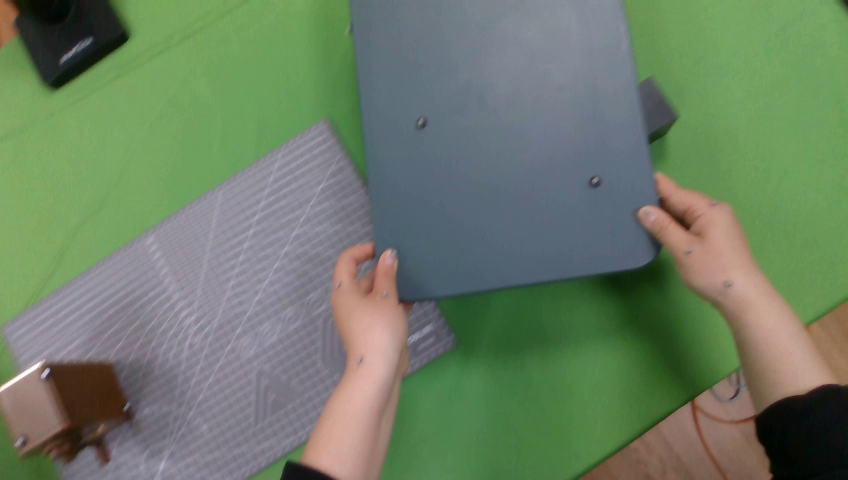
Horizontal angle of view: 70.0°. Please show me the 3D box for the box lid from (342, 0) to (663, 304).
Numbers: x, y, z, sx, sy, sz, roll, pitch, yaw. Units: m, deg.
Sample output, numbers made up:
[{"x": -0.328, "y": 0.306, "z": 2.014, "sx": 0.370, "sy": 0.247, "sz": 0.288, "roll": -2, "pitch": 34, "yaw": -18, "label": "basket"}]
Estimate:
[{"x": 0.063, "y": -0.137, "z": 0.581, "sx": 0.263, "sy": 0.015, "sz": 0.370, "roll": -9, "pitch": 80, "yaw": 6, "label": "box lid"}]

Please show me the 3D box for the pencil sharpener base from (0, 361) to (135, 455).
[{"x": -0.363, "y": 0.172, "z": 0.625, "sx": 0.061, "sy": 0.107, "sz": 0.076, "roll": -32, "pitch": 78, "yaw": 1, "label": "pencil sharpener base"}]

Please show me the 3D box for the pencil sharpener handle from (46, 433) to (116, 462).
[{"x": -0.337, "y": 0.211, "z": 0.602, "sx": 0.036, "sy": 0.068, "sz": 0.030, "roll": -34, "pitch": 77, "yaw": 8, "label": "pencil sharpener handle"}]
